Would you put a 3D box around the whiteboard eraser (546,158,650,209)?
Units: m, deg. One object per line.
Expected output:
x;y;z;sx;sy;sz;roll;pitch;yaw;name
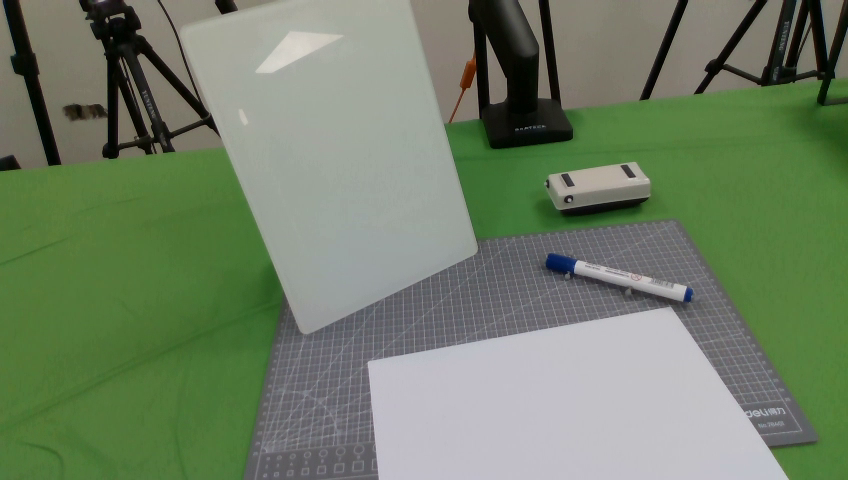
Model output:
0.208;-0.066;0.729;0.113;0.042;0.055;-8;40;-2;whiteboard eraser

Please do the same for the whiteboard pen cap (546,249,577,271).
0.147;0.022;0.640;0.033;0.018;0.018;17;44;25;whiteboard pen cap

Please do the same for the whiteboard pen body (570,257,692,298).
0.196;0.034;0.612;0.140;0.017;0.017;14;42;27;whiteboard pen body

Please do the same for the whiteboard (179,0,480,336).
-0.099;-0.096;0.648;0.217;0.307;0.142;-24;20;-20;whiteboard
